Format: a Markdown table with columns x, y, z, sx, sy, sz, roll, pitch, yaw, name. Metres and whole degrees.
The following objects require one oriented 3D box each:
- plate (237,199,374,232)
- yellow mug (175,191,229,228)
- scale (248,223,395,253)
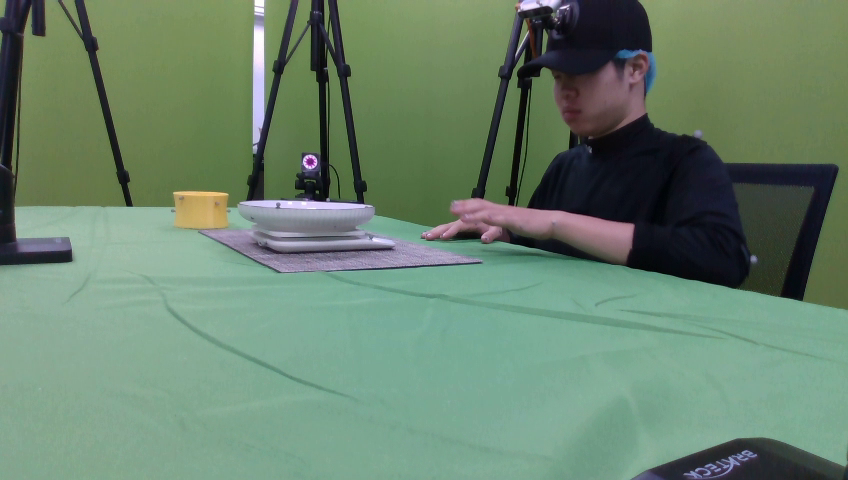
| x | y | z | sx | sy | sz | roll | pitch | yaw | name |
| --- | --- | --- | --- | --- | --- | --- | --- | --- | --- |
| -0.183 | -0.039 | 0.941 | 0.209 | 0.038 | 0.209 | 3 | 7 | 0 | plate |
| -0.427 | -0.062 | 1.189 | 0.100 | 0.064 | 0.131 | 4 | 7 | 14 | yellow mug |
| -0.162 | -0.007 | 0.954 | 0.202 | 0.031 | 0.148 | -2 | 8 | -32 | scale |
